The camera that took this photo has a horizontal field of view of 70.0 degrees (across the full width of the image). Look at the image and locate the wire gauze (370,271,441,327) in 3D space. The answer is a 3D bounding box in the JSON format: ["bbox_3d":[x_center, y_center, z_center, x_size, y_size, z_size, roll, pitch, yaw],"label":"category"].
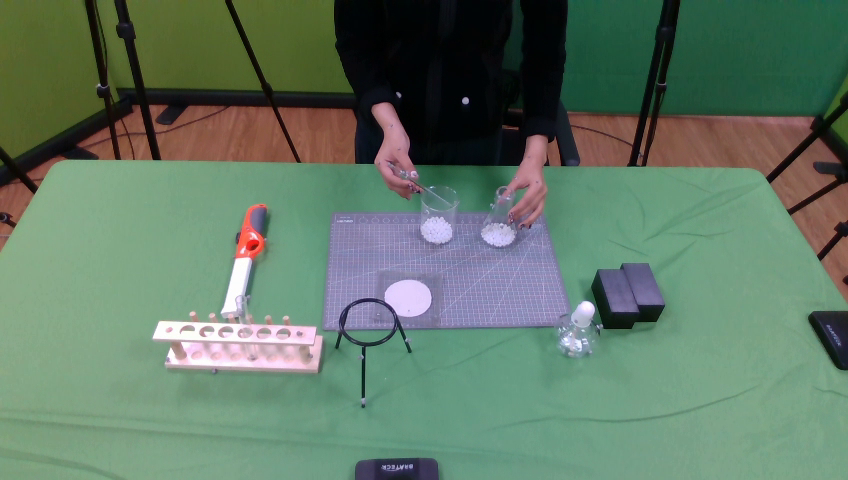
[{"bbox_3d":[-0.032,0.103,1.104,0.125,0.011,0.121,4,46,3],"label":"wire gauze"}]

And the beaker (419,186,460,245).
[{"bbox_3d":[0.025,-0.047,1.190,0.074,0.101,0.083,-29,54,-28],"label":"beaker"}]

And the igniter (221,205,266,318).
[{"bbox_3d":[-0.338,0.030,1.140,0.057,0.025,0.274,-5,46,3],"label":"igniter"}]

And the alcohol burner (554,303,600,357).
[{"bbox_3d":[0.260,0.143,1.018,0.078,0.119,0.077,3,45,-3],"label":"alcohol burner"}]

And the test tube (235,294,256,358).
[{"bbox_3d":[-0.274,0.136,0.933,0.017,0.151,0.017,4,46,-4],"label":"test tube"}]

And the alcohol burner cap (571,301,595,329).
[{"bbox_3d":[0.262,0.120,0.991,0.034,0.048,0.033,2,52,-2],"label":"alcohol burner cap"}]

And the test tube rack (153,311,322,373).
[{"bbox_3d":[-0.293,0.160,0.978,0.242,0.085,0.066,3,46,-2],"label":"test tube rack"}]

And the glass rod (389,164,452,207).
[{"bbox_3d":[-0.003,-0.098,1.120,0.008,0.201,0.008,-15,64,32],"label":"glass rod"}]

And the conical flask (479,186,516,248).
[{"bbox_3d":[0.150,-0.049,1.186,0.075,0.122,0.075,2,46,-2],"label":"conical flask"}]

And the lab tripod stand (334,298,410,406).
[{"bbox_3d":[-0.086,0.164,0.957,0.148,0.132,0.147,3,44,-2],"label":"lab tripod stand"}]
